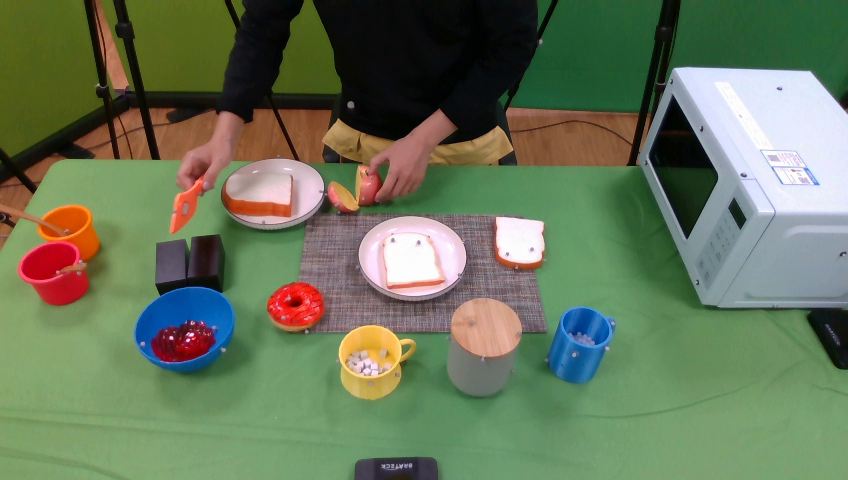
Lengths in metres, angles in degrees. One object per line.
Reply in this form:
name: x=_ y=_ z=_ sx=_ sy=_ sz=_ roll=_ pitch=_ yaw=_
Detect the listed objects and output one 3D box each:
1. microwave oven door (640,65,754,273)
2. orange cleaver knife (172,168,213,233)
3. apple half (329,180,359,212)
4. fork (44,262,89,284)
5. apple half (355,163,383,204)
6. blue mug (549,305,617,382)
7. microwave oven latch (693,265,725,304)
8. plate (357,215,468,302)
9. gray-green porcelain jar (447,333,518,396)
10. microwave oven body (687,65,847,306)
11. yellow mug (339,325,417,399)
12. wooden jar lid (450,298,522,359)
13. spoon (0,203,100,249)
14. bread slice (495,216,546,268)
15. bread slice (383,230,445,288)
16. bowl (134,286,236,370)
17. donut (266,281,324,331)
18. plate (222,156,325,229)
microwave oven door: x=0.522 y=-0.147 z=1.193 sx=0.039 sy=0.245 sz=0.353 roll=0 pitch=47 yaw=-3
orange cleaver knife: x=-0.417 y=-0.076 z=1.096 sx=0.012 sy=0.077 sz=0.210 roll=11 pitch=22 yaw=-7
apple half: x=-0.169 y=-0.083 z=1.246 sx=0.033 sy=0.082 sz=0.080 roll=-34 pitch=48 yaw=15
fork: x=-0.599 y=0.054 z=1.014 sx=0.207 sy=0.019 sz=0.028 roll=-15 pitch=29 yaw=45
apple half: x=-0.113 y=-0.116 z=1.262 sx=0.053 sy=0.075 sz=0.080 roll=2 pitch=42 yaw=-16
blue mug: x=0.269 y=0.165 z=0.998 sx=0.116 sy=0.106 sz=0.082 roll=-19 pitch=51 yaw=-21
microwave oven latch: x=0.522 y=0.081 z=1.115 sx=0.030 sy=0.029 sz=0.078 roll=2 pitch=46 yaw=-1
plate: x=-0.022 y=0.037 z=1.141 sx=0.208 sy=0.039 sz=0.206 roll=2 pitch=46 yaw=-2
gray-green porcelain jar: x=0.091 y=0.178 z=0.960 sx=0.106 sy=0.127 sz=0.105 roll=2 pitch=47 yaw=-2
microwave oven body: x=0.669 y=-0.111 z=1.176 sx=0.326 sy=0.261 sz=0.439 roll=0 pitch=46 yaw=-3
yellow mug: x=-0.072 y=0.190 z=0.978 sx=0.131 sy=0.064 sz=0.099 roll=-17 pitch=50 yaw=-20
wooden jar lid: x=0.093 y=0.135 z=0.914 sx=0.108 sy=0.021 sz=0.107 roll=2 pitch=48 yaw=-3
spoon: x=-0.683 y=-0.031 z=1.088 sx=0.195 sy=0.021 sz=0.041 roll=33 pitch=33 yaw=-38
bread slice: x=0.194 y=0.002 z=1.205 sx=0.105 sy=0.019 sz=0.131 roll=5 pitch=45 yaw=2
bread slice: x=-0.028 y=0.035 z=1.144 sx=0.107 sy=0.018 sz=0.133 roll=-7 pitch=48 yaw=-12
bowl: x=-0.377 y=0.155 z=0.981 sx=0.151 sy=0.077 sz=0.150 roll=2 pitch=46 yaw=-2
donut: x=-0.222 y=0.114 z=1.049 sx=0.099 sy=0.048 sz=0.098 roll=2 pitch=45 yaw=-2
plate: x=-0.307 y=-0.095 z=1.251 sx=0.209 sy=0.038 sz=0.208 roll=3 pitch=47 yaw=-3
